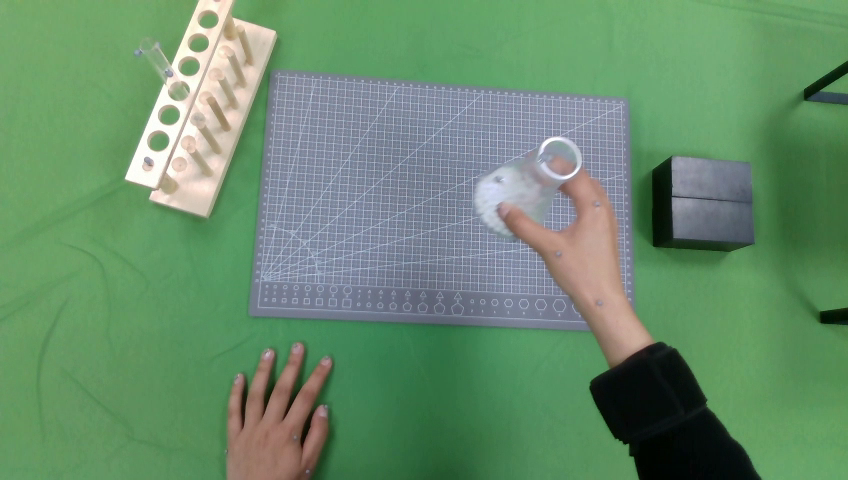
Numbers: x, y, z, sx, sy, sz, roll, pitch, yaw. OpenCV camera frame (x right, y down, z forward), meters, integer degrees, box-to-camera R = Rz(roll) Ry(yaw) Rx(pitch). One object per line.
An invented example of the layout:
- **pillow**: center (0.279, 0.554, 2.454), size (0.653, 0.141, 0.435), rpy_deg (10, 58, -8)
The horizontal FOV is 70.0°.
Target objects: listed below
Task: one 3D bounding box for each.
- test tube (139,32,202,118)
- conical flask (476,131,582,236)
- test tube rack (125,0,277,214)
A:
- **test tube**: center (-0.258, -0.165, 0.627), size (0.017, 0.151, 0.017), rpy_deg (1, 75, -3)
- **conical flask**: center (0.096, -0.053, 0.529), size (0.075, 0.122, 0.075), rpy_deg (3, 75, -11)
- **test tube rack**: center (-0.241, -0.160, 0.678), size (0.067, 0.085, 0.241), rpy_deg (18, 78, -3)
